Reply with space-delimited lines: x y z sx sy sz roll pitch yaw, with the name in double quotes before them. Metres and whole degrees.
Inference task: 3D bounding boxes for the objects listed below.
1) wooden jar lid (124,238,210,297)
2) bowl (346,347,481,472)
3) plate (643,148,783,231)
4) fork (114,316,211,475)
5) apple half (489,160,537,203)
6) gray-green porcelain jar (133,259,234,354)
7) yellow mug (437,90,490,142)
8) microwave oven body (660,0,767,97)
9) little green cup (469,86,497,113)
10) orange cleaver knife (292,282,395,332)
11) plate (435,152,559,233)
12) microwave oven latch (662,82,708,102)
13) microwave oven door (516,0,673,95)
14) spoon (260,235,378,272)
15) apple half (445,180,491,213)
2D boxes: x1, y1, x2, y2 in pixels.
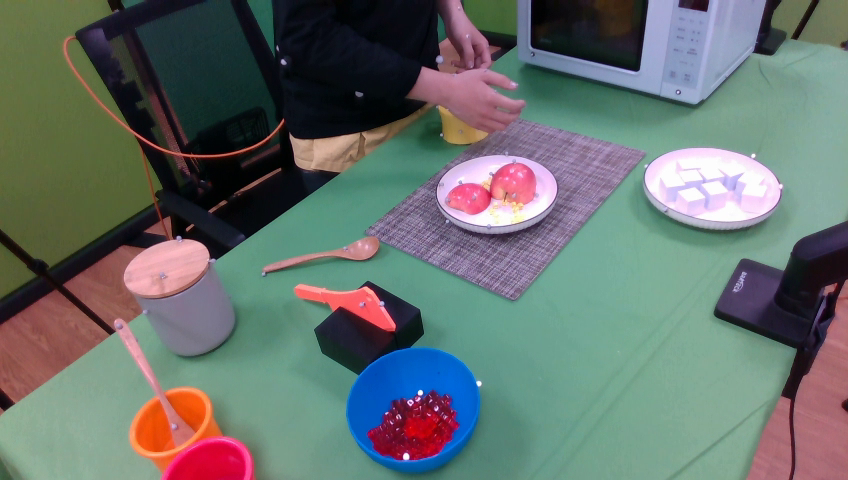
"wooden jar lid" -0.335 0.039 0.794 0.108 0.021 0.108 -2 40 2
"bowl" -0.008 0.205 0.691 0.151 0.077 0.150 -4 40 4
"plate" 0.464 -0.080 0.986 0.207 0.039 0.206 -4 41 4
"fork" -0.309 0.180 0.708 0.028 0.018 0.207 -30 89 -24
"apple half" 0.154 -0.106 1.030 0.080 0.053 0.075 22 46 31
"gray-green porcelain jar" -0.328 0.087 0.836 0.106 0.127 0.105 -4 41 4
"yellow mug" 0.070 -0.257 1.224 0.100 0.064 0.129 -33 43 -25
"microwave oven body" 0.473 -0.516 1.314 0.438 0.261 0.327 26 51 34
"little green cup" 0.124 -0.298 1.284 0.061 0.039 0.061 -4 39 4
"orange cleaver knife" -0.116 0.091 0.835 0.209 0.077 0.012 2 32 48
"plate" 0.124 -0.078 1.026 0.209 0.038 0.208 -4 40 4
"microwave oven latch" 0.518 -0.298 1.203 0.078 0.029 0.030 28 53 35
"microwave oven door" 0.344 -0.458 1.256 0.353 0.245 0.039 26 51 33
"spoon" -0.168 0.024 0.966 0.194 0.022 0.041 -10 58 -3
"apple half" 0.076 -0.083 1.029 0.081 0.033 0.081 -2 42 2
